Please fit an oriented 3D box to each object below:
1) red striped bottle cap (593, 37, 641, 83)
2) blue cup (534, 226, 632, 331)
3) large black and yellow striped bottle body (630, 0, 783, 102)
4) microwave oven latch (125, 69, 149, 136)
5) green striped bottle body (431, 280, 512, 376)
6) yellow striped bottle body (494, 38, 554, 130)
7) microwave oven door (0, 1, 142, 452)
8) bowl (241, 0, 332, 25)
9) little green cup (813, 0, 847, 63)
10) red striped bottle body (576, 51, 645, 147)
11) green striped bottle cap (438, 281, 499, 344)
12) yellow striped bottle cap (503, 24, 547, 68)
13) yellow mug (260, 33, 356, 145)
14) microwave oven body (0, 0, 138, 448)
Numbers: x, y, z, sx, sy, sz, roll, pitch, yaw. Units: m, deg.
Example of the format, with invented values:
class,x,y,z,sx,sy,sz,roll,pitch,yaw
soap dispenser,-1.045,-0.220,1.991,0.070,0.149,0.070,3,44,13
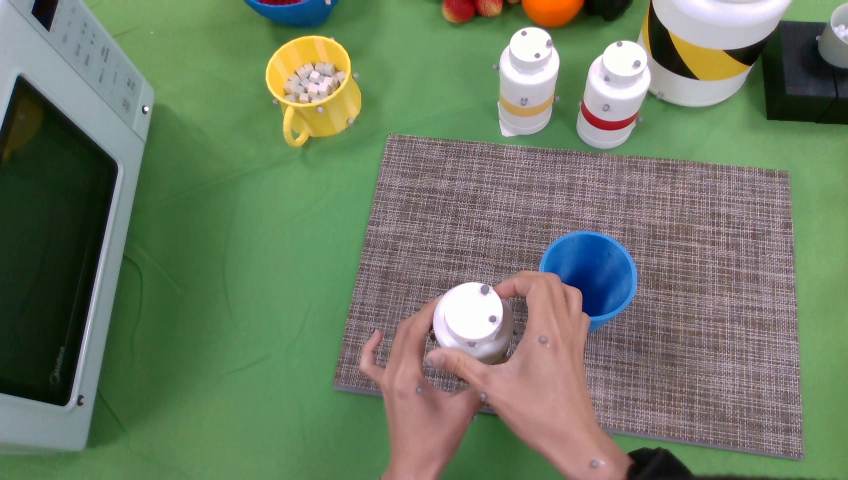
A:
class,x,y,z,sx,sy,sz,roll,pitch,yaw
red striped bottle cap,0.192,-0.179,0.602,0.044,0.018,0.044,0,67,1
blue cup,0.144,0.046,0.579,0.092,0.101,0.092,-1,67,4
large black and yellow striped bottle body,0.300,-0.250,0.643,0.130,0.185,0.130,-2,68,5
microwave oven latch,-0.354,-0.165,0.730,0.030,0.030,0.078,0,69,5
green striped bottle body,0.039,0.072,0.495,0.063,0.120,0.062,-1,69,4
yellow striped bottle body,0.109,-0.179,0.667,0.063,0.121,0.062,-2,68,6
microwave oven door,-0.364,0.000,0.555,0.039,0.245,0.353,-3,68,5
bowl,-0.169,-0.332,0.778,0.151,0.077,0.150,-2,68,4
little green cup,0.447,-0.221,0.641,0.061,0.039,0.061,-1,67,4
red striped bottle body,0.199,-0.158,0.650,0.063,0.121,0.062,-4,65,8
green striped bottle cap,0.033,0.053,0.441,0.044,0.020,0.044,1,65,-1
yellow striped bottle cap,0.103,-0.199,0.619,0.044,0.019,0.044,-2,69,4
yellow mug,-0.142,-0.172,0.717,0.099,0.064,0.130,16,71,11
microwave oven body,-0.509,-0.031,0.587,0.326,0.262,0.438,-2,69,4
